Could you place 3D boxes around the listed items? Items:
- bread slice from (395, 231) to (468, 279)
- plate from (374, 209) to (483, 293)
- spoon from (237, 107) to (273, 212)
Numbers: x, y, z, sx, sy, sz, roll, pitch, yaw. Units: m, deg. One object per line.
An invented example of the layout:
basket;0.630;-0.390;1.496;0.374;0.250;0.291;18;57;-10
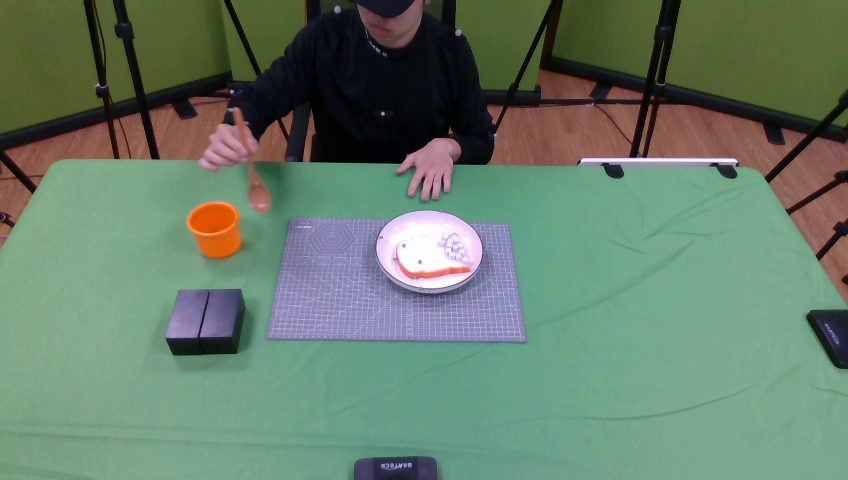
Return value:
bread slice;0.011;0.030;1.158;0.132;0.019;0.104;-8;47;-14
plate;0.009;0.024;1.160;0.209;0.038;0.208;2;46;-2
spoon;-0.300;-0.138;1.064;0.041;0.194;0.021;-2;33;3
